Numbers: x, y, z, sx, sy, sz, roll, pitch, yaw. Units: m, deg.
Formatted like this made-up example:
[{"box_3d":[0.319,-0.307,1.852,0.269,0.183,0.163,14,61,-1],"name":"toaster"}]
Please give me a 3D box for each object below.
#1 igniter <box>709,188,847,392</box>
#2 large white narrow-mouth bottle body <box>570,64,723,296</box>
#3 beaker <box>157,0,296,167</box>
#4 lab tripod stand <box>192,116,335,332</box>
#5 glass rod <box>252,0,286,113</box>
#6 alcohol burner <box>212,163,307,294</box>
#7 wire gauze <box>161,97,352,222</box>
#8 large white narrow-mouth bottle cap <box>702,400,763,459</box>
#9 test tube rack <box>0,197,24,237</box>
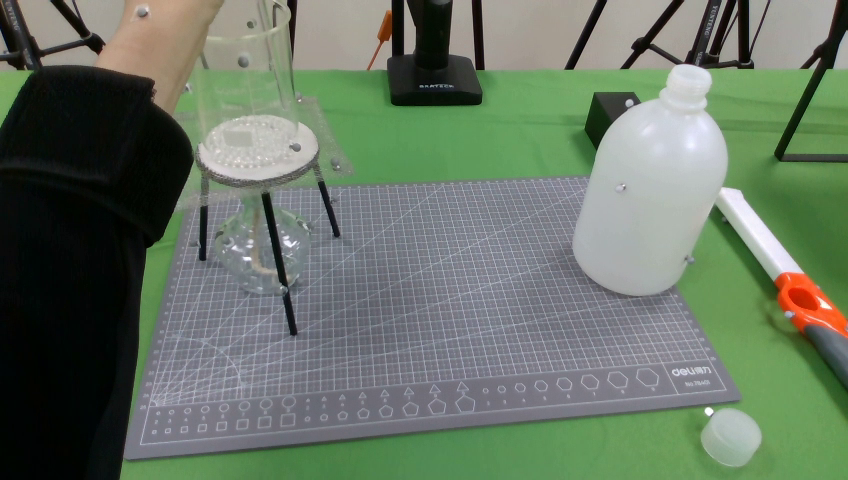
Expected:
[{"box_3d":[0.330,0.042,0.546,0.057,0.025,0.273,6,40,-14],"name":"igniter"},{"box_3d":[0.189,-0.050,0.508,0.102,0.196,0.101,2,42,-1],"name":"large white narrow-mouth bottle body"},{"box_3d":[-0.130,-0.108,0.420,0.084,0.101,0.073,-8,45,-13],"name":"beaker"},{"box_3d":[-0.127,-0.019,0.494,0.148,0.132,0.147,4,42,-3],"name":"lab tripod stand"},{"box_3d":[-0.111,-0.172,0.383,0.008,0.201,0.008,-3,39,2],"name":"glass rod"},{"box_3d":[-0.137,-0.013,0.501,0.078,0.120,0.077,4,40,-3],"name":"alcohol burner"},{"box_3d":[-0.128,-0.069,0.451,0.122,0.011,0.123,-14,48,-17],"name":"wire gauze"},{"box_3d":[0.222,0.137,0.436,0.038,0.024,0.037,2,42,-1],"name":"large white narrow-mouth bottle cap"},{"box_3d":[-0.478,-0.003,0.487,0.066,0.086,0.242,33,49,28],"name":"test tube rack"}]
